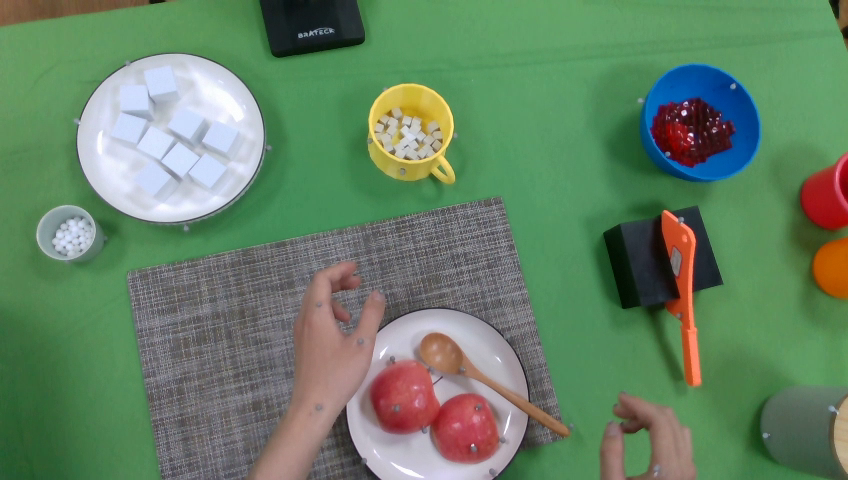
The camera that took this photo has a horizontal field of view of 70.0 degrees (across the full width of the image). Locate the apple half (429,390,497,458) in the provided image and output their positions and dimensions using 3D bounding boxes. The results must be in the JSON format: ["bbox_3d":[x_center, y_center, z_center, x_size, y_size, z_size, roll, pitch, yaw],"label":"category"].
[{"bbox_3d":[0.046,0.209,0.679,0.081,0.033,0.081,1,77,-6],"label":"apple half"}]

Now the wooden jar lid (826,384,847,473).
[{"bbox_3d":[0.468,0.200,0.636,0.108,0.021,0.108,1,81,-8],"label":"wooden jar lid"}]

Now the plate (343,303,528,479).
[{"bbox_3d":[0.012,0.177,0.687,0.209,0.038,0.208,1,79,-7],"label":"plate"}]

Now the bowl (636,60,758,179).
[{"bbox_3d":[0.331,-0.142,0.771,0.152,0.077,0.151,1,80,-7],"label":"bowl"}]

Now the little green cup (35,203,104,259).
[{"bbox_3d":[-0.390,-0.007,0.672,0.062,0.038,0.061,2,80,-8],"label":"little green cup"}]

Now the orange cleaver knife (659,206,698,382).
[{"bbox_3d":[0.303,0.065,0.726,0.012,0.077,0.212,-11,104,-5],"label":"orange cleaver knife"}]

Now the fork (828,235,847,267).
[{"bbox_3d":[0.549,0.060,0.724,0.028,0.019,0.205,6,35,-8],"label":"fork"}]

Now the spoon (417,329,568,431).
[{"bbox_3d":[0.077,0.161,0.685,0.193,0.022,0.041,30,67,12],"label":"spoon"}]

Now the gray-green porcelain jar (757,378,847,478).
[{"bbox_3d":[0.462,0.213,0.696,0.106,0.127,0.105,1,79,-6],"label":"gray-green porcelain jar"}]

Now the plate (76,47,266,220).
[{"bbox_3d":[-0.289,-0.122,0.709,0.208,0.039,0.206,1,79,-7],"label":"plate"}]

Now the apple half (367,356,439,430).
[{"bbox_3d":[-0.024,0.170,0.668,0.075,0.053,0.080,-16,81,-7],"label":"apple half"}]

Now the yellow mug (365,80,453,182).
[{"bbox_3d":[-0.010,-0.121,0.730,0.100,0.064,0.130,-42,88,-13],"label":"yellow mug"}]
